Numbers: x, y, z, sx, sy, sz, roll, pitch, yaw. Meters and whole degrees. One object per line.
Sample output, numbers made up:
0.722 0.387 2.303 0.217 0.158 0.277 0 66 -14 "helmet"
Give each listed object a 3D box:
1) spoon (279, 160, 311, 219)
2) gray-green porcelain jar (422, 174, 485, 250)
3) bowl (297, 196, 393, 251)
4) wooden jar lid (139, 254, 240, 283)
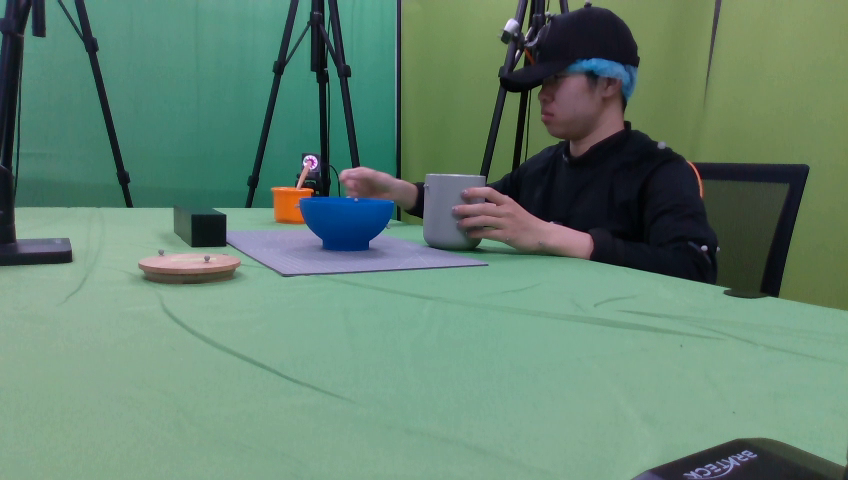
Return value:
-0.285 -0.117 1.371 0.041 0.193 0.022 3 -37 11 "spoon"
0.050 -0.049 1.040 0.106 0.126 0.106 2 8 0 "gray-green porcelain jar"
-0.125 -0.026 0.958 0.151 0.077 0.151 2 7 0 "bowl"
-0.269 0.032 0.698 0.108 0.020 0.108 2 5 0 "wooden jar lid"
